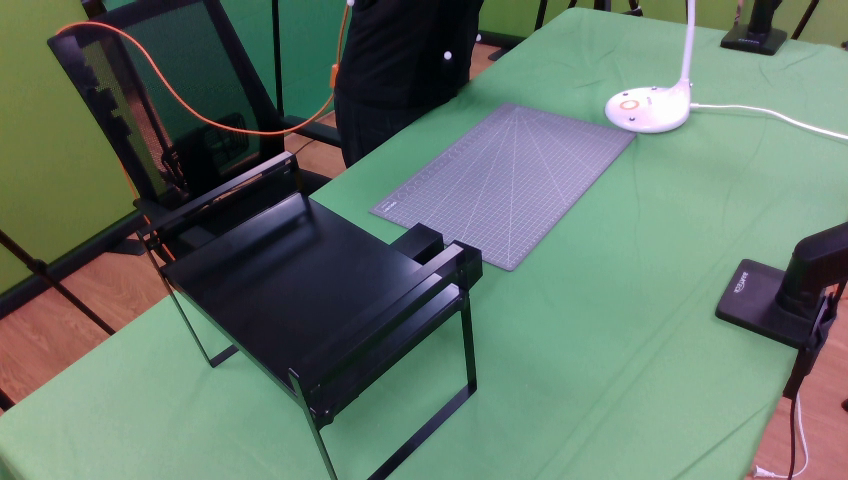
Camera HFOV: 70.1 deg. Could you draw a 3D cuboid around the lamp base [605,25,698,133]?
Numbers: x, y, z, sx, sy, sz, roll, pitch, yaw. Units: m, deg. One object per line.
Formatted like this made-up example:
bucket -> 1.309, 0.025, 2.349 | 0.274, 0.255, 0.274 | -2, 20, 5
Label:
lamp base -> 0.449, -0.321, 1.161 | 0.179, 0.181, 0.159 | -6, 41, -2
